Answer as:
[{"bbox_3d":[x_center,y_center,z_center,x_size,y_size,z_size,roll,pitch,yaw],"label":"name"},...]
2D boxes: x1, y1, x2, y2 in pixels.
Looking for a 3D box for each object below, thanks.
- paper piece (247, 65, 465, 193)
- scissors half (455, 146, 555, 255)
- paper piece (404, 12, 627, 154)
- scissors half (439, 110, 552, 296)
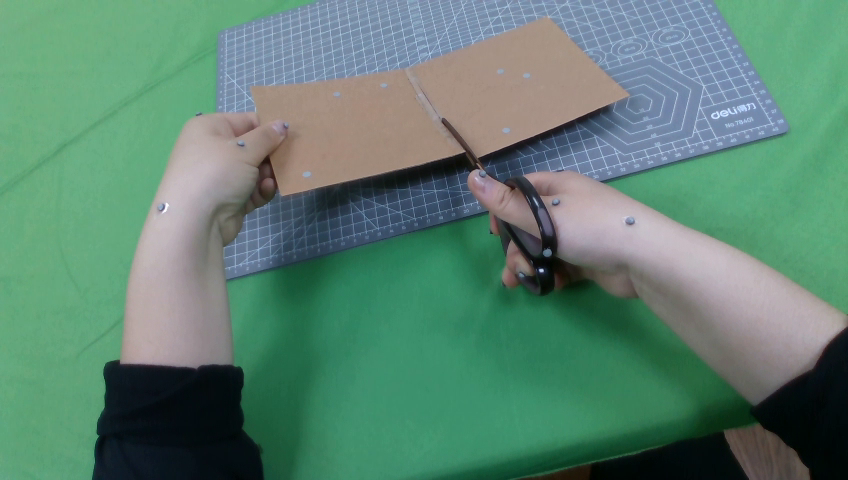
[{"bbox_3d":[-0.058,-0.092,0.466,0.138,0.009,0.134,-14,44,-13],"label":"paper piece"},{"bbox_3d":[0.042,-0.047,0.408,0.013,0.040,0.173,-17,36,-12],"label":"scissors half"},{"bbox_3d":[0.068,-0.133,0.490,0.135,0.004,0.134,-22,51,-6],"label":"paper piece"},{"bbox_3d":[0.044,-0.033,0.425,0.013,0.040,0.173,-20,61,-8],"label":"scissors half"}]
